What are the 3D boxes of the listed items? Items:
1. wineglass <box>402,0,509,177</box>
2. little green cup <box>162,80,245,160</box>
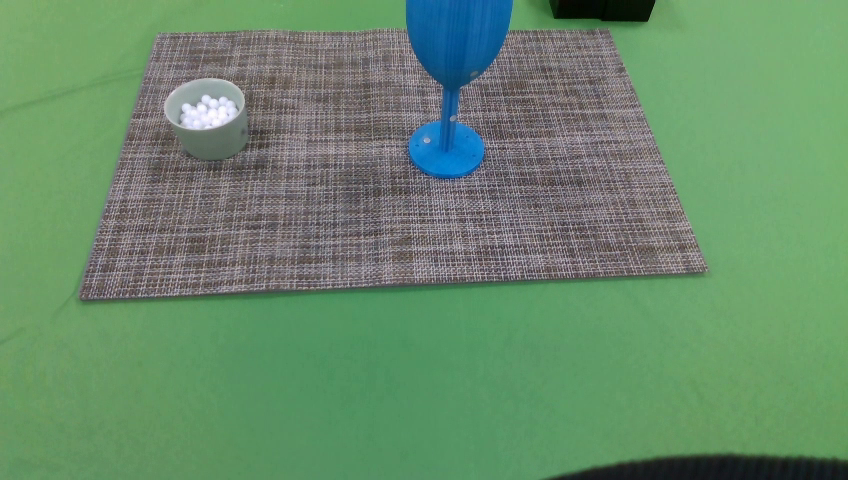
[{"bbox_3d":[0.019,-0.128,0.442,0.074,0.173,0.073,1,54,-1],"label":"wineglass"},{"bbox_3d":[-0.175,-0.096,0.491,0.061,0.039,0.061,2,53,-2],"label":"little green cup"}]
